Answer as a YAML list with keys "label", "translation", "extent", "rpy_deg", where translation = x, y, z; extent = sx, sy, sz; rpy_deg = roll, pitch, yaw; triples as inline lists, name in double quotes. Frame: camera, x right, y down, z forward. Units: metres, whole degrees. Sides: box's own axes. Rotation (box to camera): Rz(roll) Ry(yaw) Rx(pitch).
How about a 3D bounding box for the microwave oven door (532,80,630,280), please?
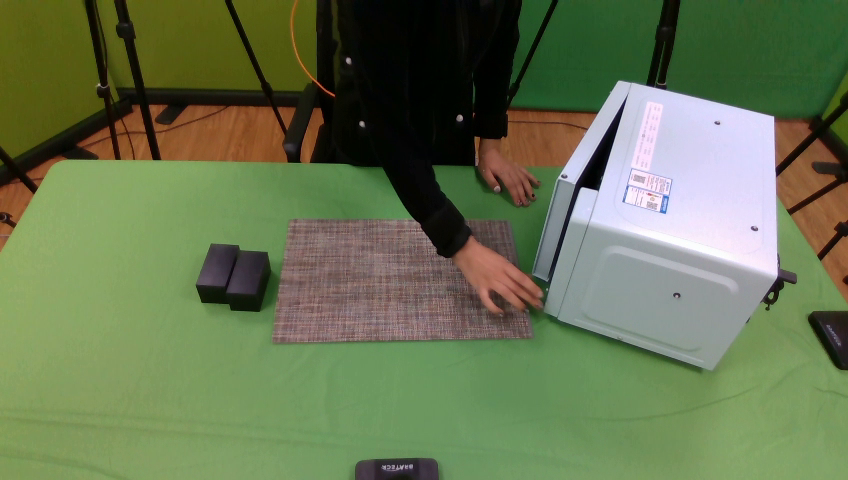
- label: "microwave oven door"
  translation: [0.306, -0.122, 1.161]
  extent: [0.039, 0.245, 0.355]
  rpy_deg: [23, 49, 17]

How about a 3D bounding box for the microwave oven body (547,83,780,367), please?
- label: "microwave oven body"
  translation: [0.445, -0.040, 1.100]
  extent: [0.325, 0.261, 0.440]
  rpy_deg: [17, 47, 13]

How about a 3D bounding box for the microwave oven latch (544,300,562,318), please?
- label: "microwave oven latch"
  translation: [0.240, 0.101, 1.084]
  extent: [0.030, 0.029, 0.079]
  rpy_deg: [24, 49, 19]

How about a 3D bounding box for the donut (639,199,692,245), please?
- label: "donut"
  translation: [0.460, -0.035, 1.159]
  extent: [0.099, 0.048, 0.098]
  rpy_deg: [2, 62, -4]

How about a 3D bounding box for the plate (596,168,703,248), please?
- label: "plate"
  translation: [0.432, -0.059, 1.178]
  extent: [0.209, 0.038, 0.208]
  rpy_deg: [7, 47, -7]
